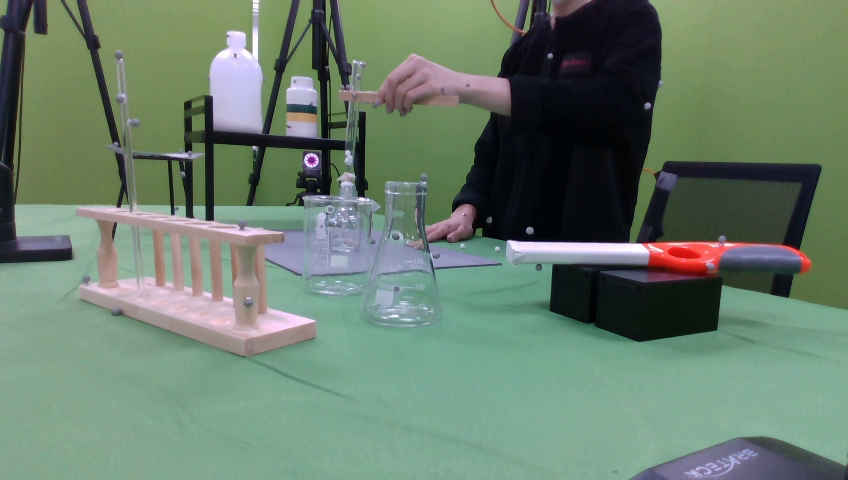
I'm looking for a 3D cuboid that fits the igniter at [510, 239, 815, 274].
[{"bbox_3d":[0.220,0.015,0.565,0.277,0.025,0.057,2,16,-1],"label":"igniter"}]

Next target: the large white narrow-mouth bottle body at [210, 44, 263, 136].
[{"bbox_3d":[-0.369,-0.305,1.194,0.102,0.194,0.102,3,8,0],"label":"large white narrow-mouth bottle body"}]

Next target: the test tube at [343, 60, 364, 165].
[{"bbox_3d":[-0.102,-0.181,0.867,0.017,0.150,0.017,8,21,-3],"label":"test tube"}]

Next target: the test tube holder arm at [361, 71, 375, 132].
[{"bbox_3d":[-0.079,-0.194,0.850,0.010,0.087,0.015,1,-14,-35],"label":"test tube holder arm"}]

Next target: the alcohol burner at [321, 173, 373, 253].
[{"bbox_3d":[-0.115,-0.041,0.905,0.078,0.119,0.078,1,6,0],"label":"alcohol burner"}]

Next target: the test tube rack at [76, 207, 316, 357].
[{"bbox_3d":[-0.196,0.023,0.500,0.241,0.085,0.067,8,9,36],"label":"test tube rack"}]

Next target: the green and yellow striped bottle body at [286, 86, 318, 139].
[{"bbox_3d":[-0.251,-0.270,1.245,0.063,0.119,0.063,2,7,0],"label":"green and yellow striped bottle body"}]

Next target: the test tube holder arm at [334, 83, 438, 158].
[{"bbox_3d":[-0.051,-0.168,0.864,0.179,0.013,0.015,30,-32,-28],"label":"test tube holder arm"}]

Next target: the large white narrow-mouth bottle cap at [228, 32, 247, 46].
[{"bbox_3d":[-0.364,-0.391,1.180,0.038,0.024,0.037,3,8,0],"label":"large white narrow-mouth bottle cap"}]

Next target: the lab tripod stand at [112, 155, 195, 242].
[{"bbox_3d":[-0.405,-0.064,0.931,0.148,0.131,0.148,1,6,0],"label":"lab tripod stand"}]

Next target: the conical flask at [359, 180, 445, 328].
[{"bbox_3d":[-0.017,0.010,0.522,0.075,0.122,0.075,3,7,0],"label":"conical flask"}]

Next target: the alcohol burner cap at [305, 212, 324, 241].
[{"bbox_3d":[-0.185,-0.023,1.027,0.034,0.048,0.034,2,6,0],"label":"alcohol burner cap"}]

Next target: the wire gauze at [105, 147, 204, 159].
[{"bbox_3d":[-0.407,-0.131,0.928,0.125,0.011,0.121,2,6,-11],"label":"wire gauze"}]

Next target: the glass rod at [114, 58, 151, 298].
[{"bbox_3d":[-0.236,-0.044,0.493,0.008,0.199,0.008,1,16,0],"label":"glass rod"}]

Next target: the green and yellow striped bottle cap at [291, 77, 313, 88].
[{"bbox_3d":[-0.250,-0.321,1.237,0.045,0.020,0.045,3,6,0],"label":"green and yellow striped bottle cap"}]

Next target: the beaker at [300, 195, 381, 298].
[{"bbox_3d":[-0.087,0.006,0.626,0.084,0.100,0.074,1,8,-17],"label":"beaker"}]
